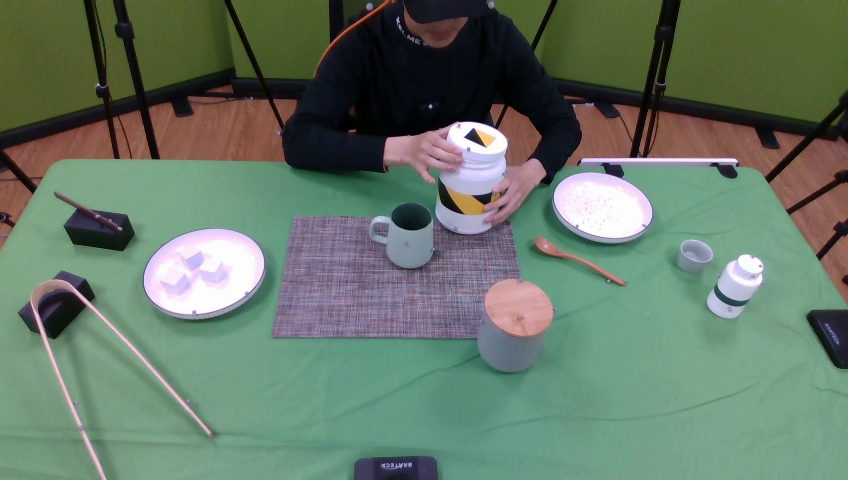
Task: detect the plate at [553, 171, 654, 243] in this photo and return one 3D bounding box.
[{"bbox_3d":[0.373,-0.066,1.274,0.209,0.038,0.208,2,46,-2],"label":"plate"}]

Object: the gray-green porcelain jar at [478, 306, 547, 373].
[{"bbox_3d":[0.144,0.148,0.989,0.106,0.127,0.105,2,50,-2],"label":"gray-green porcelain jar"}]

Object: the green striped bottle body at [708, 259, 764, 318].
[{"bbox_3d":[0.563,0.081,1.089,0.063,0.120,0.063,2,46,-2],"label":"green striped bottle body"}]

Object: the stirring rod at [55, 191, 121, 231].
[{"bbox_3d":[-0.632,-0.055,1.138,0.175,0.014,0.006,24,50,19],"label":"stirring rod"}]

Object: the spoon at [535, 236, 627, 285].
[{"bbox_3d":[0.303,0.040,1.178,0.193,0.022,0.041,25,33,19],"label":"spoon"}]

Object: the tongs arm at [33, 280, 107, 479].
[{"bbox_3d":[-0.517,0.214,0.909,0.051,0.026,0.383,-29,63,-26],"label":"tongs arm"}]

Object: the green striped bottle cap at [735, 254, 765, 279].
[{"bbox_3d":[0.566,0.046,1.051,0.044,0.020,0.044,0,45,0],"label":"green striped bottle cap"}]

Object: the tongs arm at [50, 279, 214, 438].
[{"bbox_3d":[-0.459,0.178,0.949,0.386,0.028,0.028,37,60,17],"label":"tongs arm"}]

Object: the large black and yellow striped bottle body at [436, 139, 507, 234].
[{"bbox_3d":[0.093,-0.118,1.200,0.131,0.185,0.130,2,42,-2],"label":"large black and yellow striped bottle body"}]

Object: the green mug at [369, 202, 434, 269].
[{"bbox_3d":[-0.043,-0.010,1.140,0.125,0.105,0.092,8,47,4],"label":"green mug"}]

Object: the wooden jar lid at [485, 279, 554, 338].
[{"bbox_3d":[0.147,0.108,0.940,0.108,0.021,0.107,4,47,-4],"label":"wooden jar lid"}]

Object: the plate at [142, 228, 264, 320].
[{"bbox_3d":[-0.394,0.064,1.095,0.208,0.039,0.206,2,46,-2],"label":"plate"}]

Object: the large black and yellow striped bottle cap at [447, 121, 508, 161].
[{"bbox_3d":[0.100,-0.188,1.138,0.115,0.019,0.114,9,40,-7],"label":"large black and yellow striped bottle cap"}]

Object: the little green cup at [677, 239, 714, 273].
[{"bbox_3d":[0.530,0.033,1.189,0.061,0.039,0.061,2,47,-2],"label":"little green cup"}]
